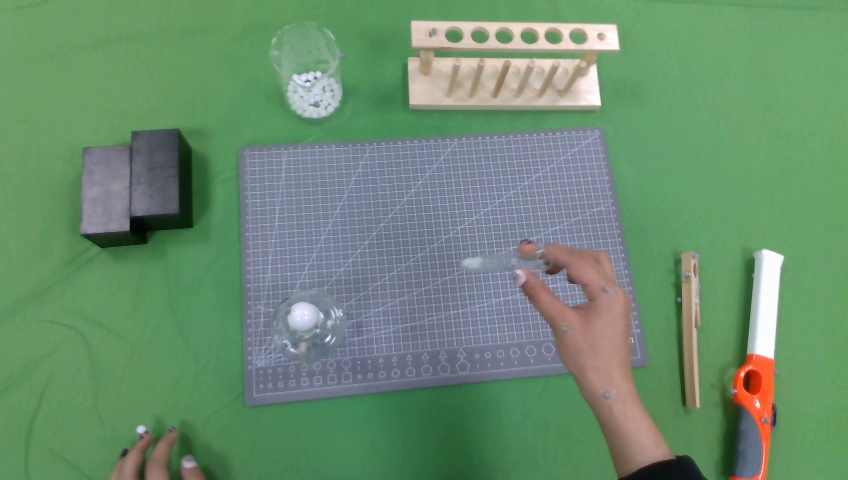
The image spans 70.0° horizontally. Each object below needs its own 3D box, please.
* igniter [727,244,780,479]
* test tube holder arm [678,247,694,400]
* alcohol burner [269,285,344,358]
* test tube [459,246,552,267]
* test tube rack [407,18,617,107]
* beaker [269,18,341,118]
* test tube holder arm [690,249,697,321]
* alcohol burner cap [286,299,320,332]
[{"bbox_3d":[0.380,0.137,0.695,0.057,0.025,0.275,18,74,-11],"label":"igniter"},{"bbox_3d":[0.304,0.095,0.702,0.013,0.015,0.177,17,72,-32],"label":"test tube holder arm"},{"bbox_3d":[-0.121,0.080,0.617,0.078,0.119,0.077,2,73,-6],"label":"alcohol burner"},{"bbox_3d":[0.068,0.017,0.547,0.017,0.149,0.017,1,87,-22],"label":"test tube"},{"bbox_3d":[0.102,-0.213,0.736,0.243,0.085,0.066,-1,75,-5],"label":"test tube rack"},{"bbox_3d":[-0.133,-0.191,0.701,0.074,0.100,0.083,-2,75,-5],"label":"beaker"},{"bbox_3d":[0.314,0.053,0.717,0.010,0.015,0.087,18,71,-32],"label":"test tube holder arm"},{"bbox_3d":[-0.118,0.072,0.582,0.034,0.048,0.033,1,79,-6],"label":"alcohol burner cap"}]
